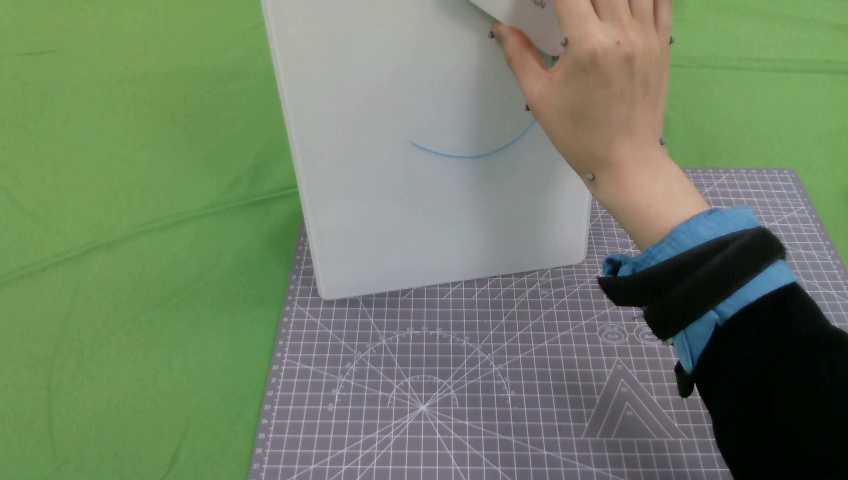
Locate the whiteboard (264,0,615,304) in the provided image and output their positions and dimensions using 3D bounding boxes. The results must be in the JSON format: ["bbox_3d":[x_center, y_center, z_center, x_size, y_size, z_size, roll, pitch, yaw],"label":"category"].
[{"bbox_3d":[0.008,-0.130,0.455,0.217,0.308,0.142,-8,32,-5],"label":"whiteboard"}]

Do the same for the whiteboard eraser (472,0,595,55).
[{"bbox_3d":[0.060,-0.149,0.365,0.102,0.041,0.018,26,23,-23],"label":"whiteboard eraser"}]
